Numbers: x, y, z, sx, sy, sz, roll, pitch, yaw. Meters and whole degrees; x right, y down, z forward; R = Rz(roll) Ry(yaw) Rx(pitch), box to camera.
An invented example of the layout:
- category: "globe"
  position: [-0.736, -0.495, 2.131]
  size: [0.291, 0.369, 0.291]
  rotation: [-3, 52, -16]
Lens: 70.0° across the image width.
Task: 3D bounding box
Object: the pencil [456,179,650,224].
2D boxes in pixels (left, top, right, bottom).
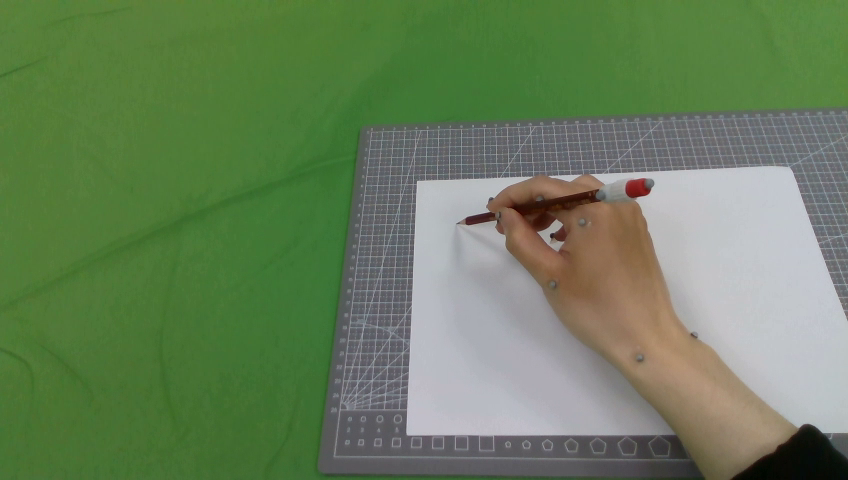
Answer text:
- category: "pencil"
  position: [0.068, -0.020, 0.389]
  size: [0.012, 0.193, 0.012]
  rotation: [2, 86, -26]
